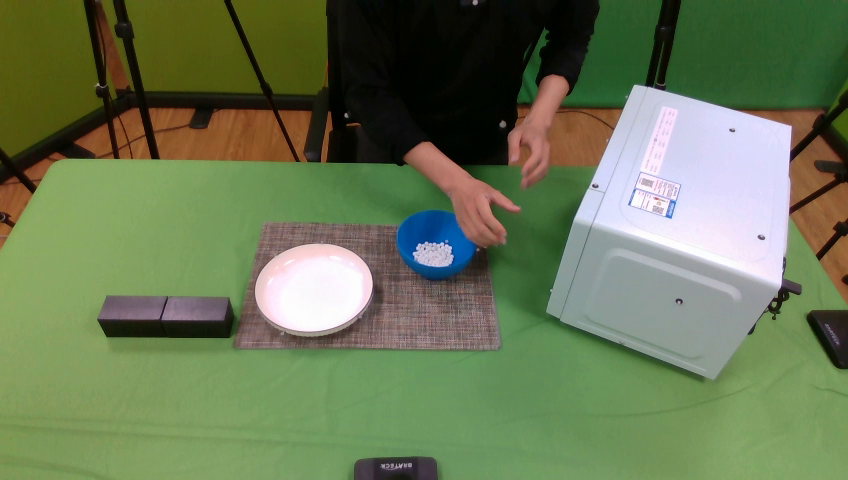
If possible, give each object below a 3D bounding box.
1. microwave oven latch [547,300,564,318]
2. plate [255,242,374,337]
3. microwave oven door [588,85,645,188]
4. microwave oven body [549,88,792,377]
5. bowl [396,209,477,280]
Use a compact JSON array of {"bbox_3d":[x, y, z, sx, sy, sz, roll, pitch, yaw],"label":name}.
[{"bbox_3d":[0.242,0.102,1.081,0.030,0.029,0.079,21,48,17],"label":"microwave oven latch"},{"bbox_3d":[-0.192,0.090,1.079,0.208,0.039,0.206,2,46,-2],"label":"plate"},{"bbox_3d":[0.342,-0.107,1.149,0.039,0.245,0.354,20,48,15],"label":"microwave oven door"},{"bbox_3d":[0.456,-0.028,1.088,0.325,0.261,0.440,20,47,16],"label":"microwave oven body"},{"bbox_3d":[0.021,0.021,1.133,0.151,0.077,0.150,2,46,-2],"label":"bowl"}]
